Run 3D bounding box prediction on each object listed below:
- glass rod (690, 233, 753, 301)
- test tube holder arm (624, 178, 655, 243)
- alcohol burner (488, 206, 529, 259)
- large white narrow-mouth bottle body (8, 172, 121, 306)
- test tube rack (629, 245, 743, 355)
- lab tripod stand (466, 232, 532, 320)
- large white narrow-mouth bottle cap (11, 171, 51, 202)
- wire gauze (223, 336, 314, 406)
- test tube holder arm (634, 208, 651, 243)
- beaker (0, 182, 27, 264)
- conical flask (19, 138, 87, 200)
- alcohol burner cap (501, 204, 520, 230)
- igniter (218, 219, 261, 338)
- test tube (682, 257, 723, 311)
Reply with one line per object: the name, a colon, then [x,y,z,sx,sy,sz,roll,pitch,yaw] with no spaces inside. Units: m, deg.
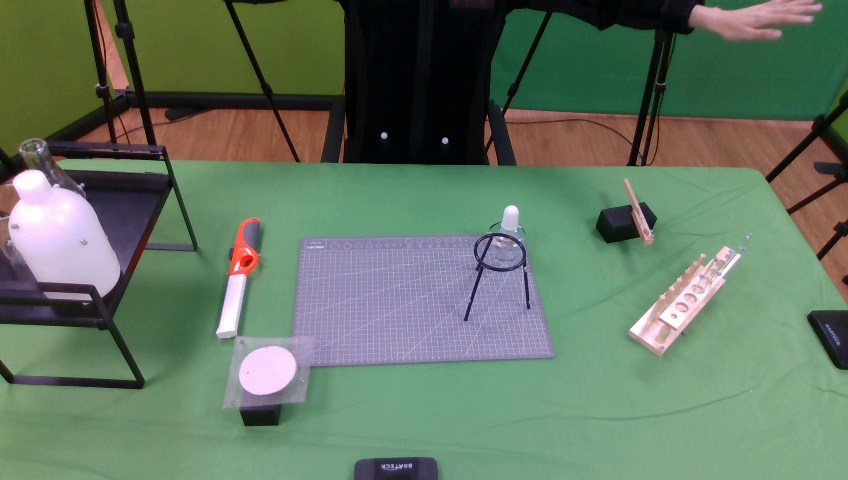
glass rod: [0.507,0.053,1.041,0.008,0.200,0.008,5,51,-6]
test tube holder arm: [0.432,-0.062,1.220,0.013,0.015,0.177,0,47,-3]
alcohol burner: [0.163,-0.020,1.158,0.078,0.120,0.077,0,47,0]
large white narrow-mouth bottle body: [-0.480,-0.007,0.798,0.102,0.195,0.101,2,46,-2]
test tube rack: [0.474,0.095,1.091,0.242,0.085,0.066,-34,56,-31]
lab tripod stand: [0.125,0.059,1.065,0.148,0.132,0.147,1,45,0]
large white narrow-mouth bottle cap: [-0.477,-0.065,0.736,0.038,0.024,0.037,2,46,-2]
wire gauze: [-0.237,0.197,0.931,0.121,0.011,0.124,1,45,-4]
test tube holder arm: [0.428,-0.030,1.189,0.010,0.015,0.087,1,47,-2]
beaker: [-0.582,-0.019,0.870,0.074,0.101,0.083,5,46,1]
conical flask: [-0.576,-0.097,0.930,0.075,0.122,0.075,2,46,-2]
alcohol burner cap: [0.164,-0.046,1.133,0.034,0.048,0.033,2,40,-2]
igniter: [-0.336,0.060,1.111,0.057,0.025,0.274,-8,46,4]
test tube: [0.474,0.080,1.037,0.017,0.151,0.017,1,51,-1]
